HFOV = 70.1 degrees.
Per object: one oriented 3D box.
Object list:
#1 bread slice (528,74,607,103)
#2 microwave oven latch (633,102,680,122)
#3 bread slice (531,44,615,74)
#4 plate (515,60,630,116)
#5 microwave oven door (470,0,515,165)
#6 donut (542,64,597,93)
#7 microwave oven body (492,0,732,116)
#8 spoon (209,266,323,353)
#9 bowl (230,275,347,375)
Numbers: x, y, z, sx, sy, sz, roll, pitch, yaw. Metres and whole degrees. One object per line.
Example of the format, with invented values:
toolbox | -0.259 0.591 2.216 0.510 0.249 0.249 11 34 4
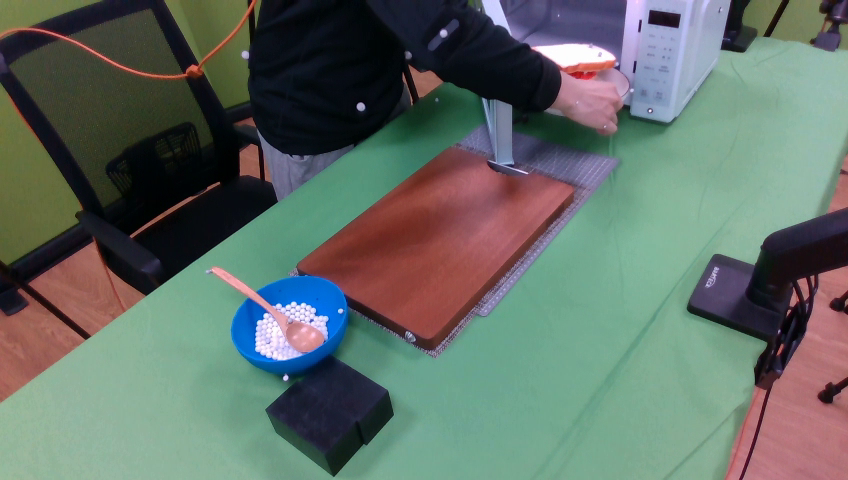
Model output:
bread slice | 0.272 -0.286 1.130 0.132 0.019 0.104 -14 44 -11
microwave oven latch | 0.443 -0.249 1.157 0.078 0.029 0.030 22 49 30
bread slice | 0.271 -0.327 1.083 0.135 0.018 0.106 -13 39 -23
plate | 0.272 -0.281 1.118 0.208 0.039 0.206 0 40 1
microwave oven door | 0.127 -0.341 1.153 0.039 0.245 0.354 -7 40 2
donut | 0.263 -0.302 1.098 0.099 0.048 0.098 -2 44 2
microwave oven body | 0.377 -0.463 1.267 0.438 0.261 0.327 21 49 30
spoon | -0.214 0.088 0.806 0.193 0.021 0.042 37 56 11
bowl | -0.171 0.125 0.801 0.151 0.077 0.150 -4 40 4
